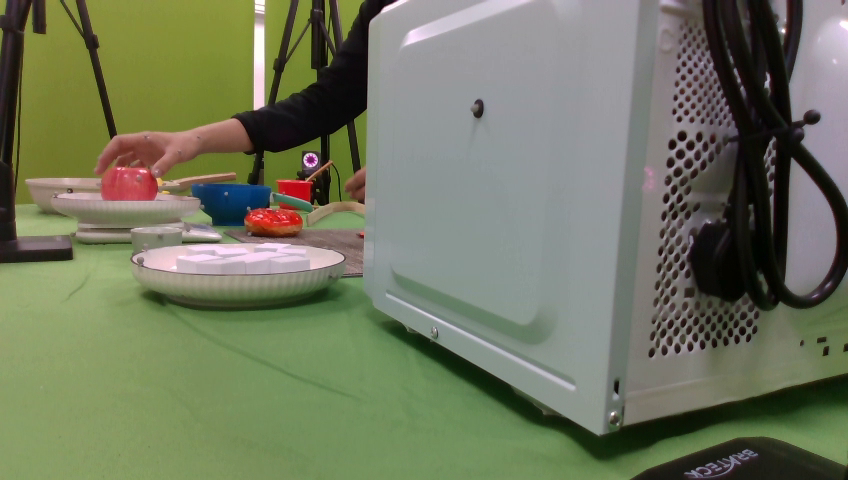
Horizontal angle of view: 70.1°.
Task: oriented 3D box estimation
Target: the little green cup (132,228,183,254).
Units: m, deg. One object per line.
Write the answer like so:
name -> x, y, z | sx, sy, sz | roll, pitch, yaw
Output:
little green cup -> -0.342, 0.006, 0.779 | 0.061, 0.038, 0.061 | 2, 8, 0

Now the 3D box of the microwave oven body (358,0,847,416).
microwave oven body -> 0.211, -0.047, 0.474 | 0.444, 0.260, 0.324 | -1, 7, -28

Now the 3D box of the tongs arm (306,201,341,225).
tongs arm -> -0.234, -0.068, 1.414 | 0.028, 0.028, 0.387 | -5, 7, 1

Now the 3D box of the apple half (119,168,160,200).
apple half -> -0.433, -0.076, 0.940 | 0.033, 0.081, 0.081 | 1, 7, 15

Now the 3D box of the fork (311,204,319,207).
fork -> -0.356, -0.105, 1.526 | 0.208, 0.018, 0.028 | 16, -5, -41

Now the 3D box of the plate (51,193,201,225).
plate -> -0.460, -0.050, 0.945 | 0.209, 0.038, 0.209 | 2, 7, 0

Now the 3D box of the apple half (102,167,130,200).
apple half -> -0.471, -0.077, 0.949 | 0.053, 0.074, 0.081 | 1, 10, 15

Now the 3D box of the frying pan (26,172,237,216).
frying pan -> -0.624, -0.118, 1.387 | 0.305, 0.102, 0.490 | 8, 17, 32

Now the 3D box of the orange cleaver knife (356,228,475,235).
orange cleaver knife -> -0.016, -0.015, 1.080 | 0.211, 0.012, 0.077 | 0, 1, -3

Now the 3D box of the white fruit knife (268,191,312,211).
white fruit knife -> -0.364, -0.105, 1.464 | 0.208, 0.027, 0.016 | 15, 0, -34

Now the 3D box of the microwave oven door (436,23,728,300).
microwave oven door -> 0.180, -0.073, 0.621 | 0.358, 0.243, 0.039 | -2, 9, -29

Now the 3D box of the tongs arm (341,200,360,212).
tongs arm -> -0.149, -0.069, 1.429 | 0.051, 0.026, 0.383 | -4, 8, -14

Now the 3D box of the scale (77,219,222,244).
scale -> -0.434, -0.018, 0.963 | 0.202, 0.031, 0.148 | -1, 9, -27

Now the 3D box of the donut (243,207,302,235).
donut -> -0.261, -0.032, 1.042 | 0.099, 0.048, 0.099 | 3, 8, 0

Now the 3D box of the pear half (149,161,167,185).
pear half -> -0.602, -0.120, 1.354 | 0.056, 0.110, 0.076 | 4, 11, 6

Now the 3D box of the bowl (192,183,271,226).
bowl -> -0.382, -0.070, 1.202 | 0.151, 0.077, 0.151 | 3, 7, 0

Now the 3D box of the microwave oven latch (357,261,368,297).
microwave oven latch -> -0.019, 0.033, 0.530 | 0.079, 0.029, 0.030 | -1, 7, -26

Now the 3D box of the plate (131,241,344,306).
plate -> -0.187, 0.033, 0.625 | 0.208, 0.039, 0.207 | 2, 7, 0

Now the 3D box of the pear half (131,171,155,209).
pear half -> -0.638, -0.113, 1.361 | 0.031, 0.088, 0.070 | 5, 10, 4

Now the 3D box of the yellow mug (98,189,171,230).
yellow mug -> -0.519, -0.055, 1.080 | 0.099, 0.064, 0.131 | 7, 10, 26

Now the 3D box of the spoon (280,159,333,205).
spoon -> -0.316, -0.159, 1.640 | 0.194, 0.022, 0.041 | -49, 32, -20
